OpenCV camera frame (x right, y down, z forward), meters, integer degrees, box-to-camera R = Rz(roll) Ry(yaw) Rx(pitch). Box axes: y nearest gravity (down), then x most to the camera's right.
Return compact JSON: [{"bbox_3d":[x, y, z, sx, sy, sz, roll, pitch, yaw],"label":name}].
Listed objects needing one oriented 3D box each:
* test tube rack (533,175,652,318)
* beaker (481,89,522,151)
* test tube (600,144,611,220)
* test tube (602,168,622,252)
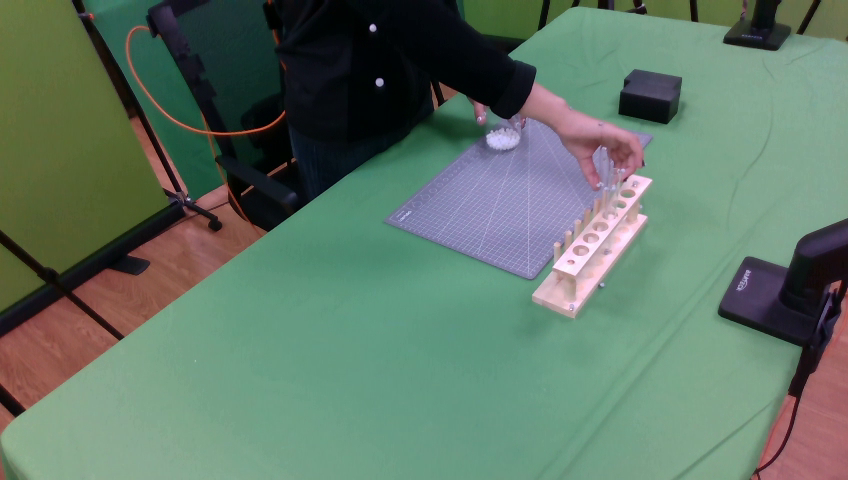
[{"bbox_3d":[0.251,-0.001,0.888,0.066,0.085,0.243,23,49,32],"label":"test tube rack"},{"bbox_3d":[0.153,-0.227,1.160,0.074,0.101,0.083,-32,46,-23],"label":"beaker"},{"bbox_3d":[0.271,-0.080,0.906,0.017,0.151,0.017,-8,43,8],"label":"test tube"},{"bbox_3d":[0.264,-0.039,0.853,0.017,0.151,0.017,-5,44,5],"label":"test tube"}]
